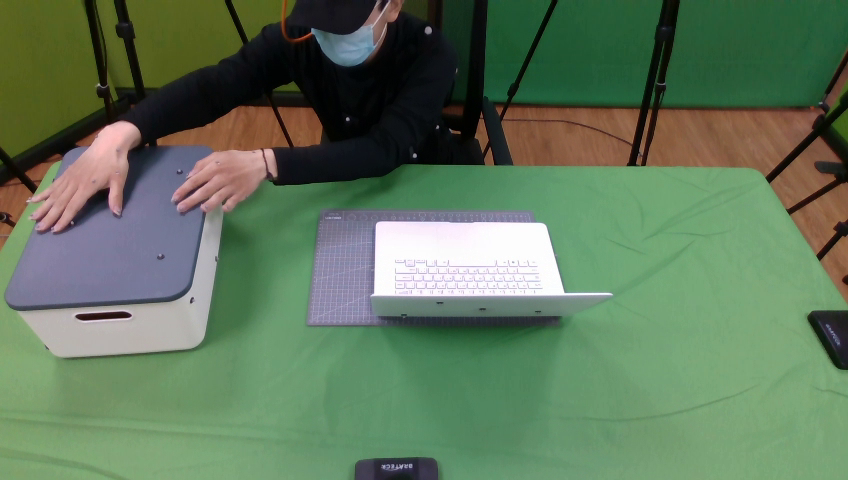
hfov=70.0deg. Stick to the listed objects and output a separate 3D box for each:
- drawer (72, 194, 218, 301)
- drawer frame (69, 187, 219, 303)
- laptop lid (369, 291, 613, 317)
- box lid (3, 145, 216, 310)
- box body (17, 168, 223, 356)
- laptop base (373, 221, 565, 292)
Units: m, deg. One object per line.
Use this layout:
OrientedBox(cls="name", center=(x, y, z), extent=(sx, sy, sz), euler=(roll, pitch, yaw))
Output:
OrientedBox(cls="drawer", center=(-0.496, 0.010, 1.104), extent=(0.195, 0.073, 0.210), euler=(1, 46, -6))
OrientedBox(cls="drawer frame", center=(-0.496, 0.004, 1.099), extent=(0.202, 0.083, 0.212), euler=(-2, 50, -4))
OrientedBox(cls="laptop lid", center=(0.092, 0.104, 0.965), extent=(0.357, 0.242, 0.013), euler=(0, 76, -5))
OrientedBox(cls="box lid", center=(-0.495, -0.040, 0.999), extent=(0.263, 0.015, 0.369), euler=(-2, 47, -8))
OrientedBox(cls="box body", center=(-0.499, 0.012, 1.051), extent=(0.254, 0.161, 0.361), euler=(-3, 47, -7))
OrientedBox(cls="laptop base", center=(0.080, 0.049, 1.159), extent=(0.355, 0.023, 0.234), euler=(0, 43, -4))
